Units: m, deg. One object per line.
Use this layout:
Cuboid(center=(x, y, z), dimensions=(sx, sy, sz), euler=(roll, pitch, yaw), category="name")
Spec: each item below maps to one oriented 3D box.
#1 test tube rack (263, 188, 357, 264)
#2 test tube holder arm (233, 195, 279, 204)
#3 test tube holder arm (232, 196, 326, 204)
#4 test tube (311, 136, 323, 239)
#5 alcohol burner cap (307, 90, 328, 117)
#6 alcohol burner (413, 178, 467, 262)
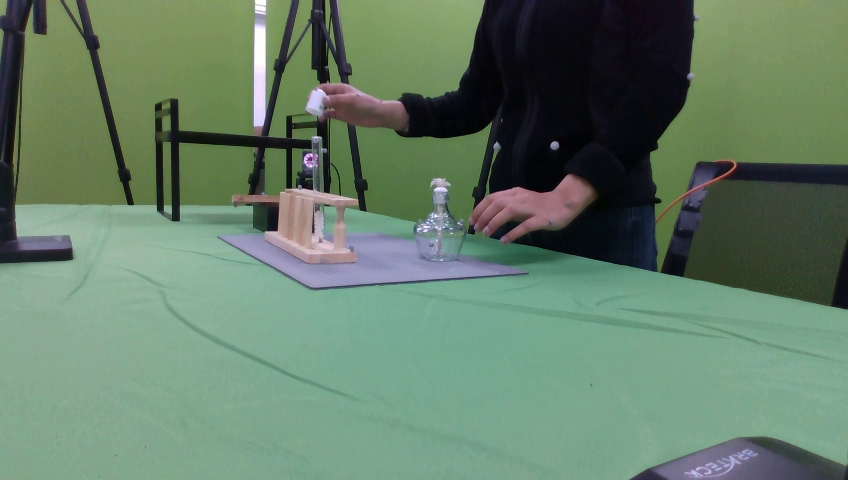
Cuboid(center=(-0.175, -0.028, 0.890), dimensions=(0.067, 0.085, 0.241), euler=(0, 8, -28), category="test tube rack")
Cuboid(center=(-0.307, -0.075, 1.117), dimensions=(0.088, 0.015, 0.010), euler=(-1, 1, -31), category="test tube holder arm")
Cuboid(center=(-0.271, -0.076, 1.145), dimensions=(0.179, 0.015, 0.013), euler=(-1, 1, -32), category="test tube holder arm")
Cuboid(center=(-0.155, -0.076, 0.878), dimensions=(0.017, 0.150, 0.017), euler=(0, 7, 0), category="test tube")
Cuboid(center=(-0.194, -0.255, 1.122), dimensions=(0.034, 0.048, 0.034), euler=(16, -5, 2), category="alcohol burner cap")
Cuboid(center=(0.023, -0.029, 0.864), dimensions=(0.078, 0.119, 0.078), euler=(1, 6, 0), category="alcohol burner")
